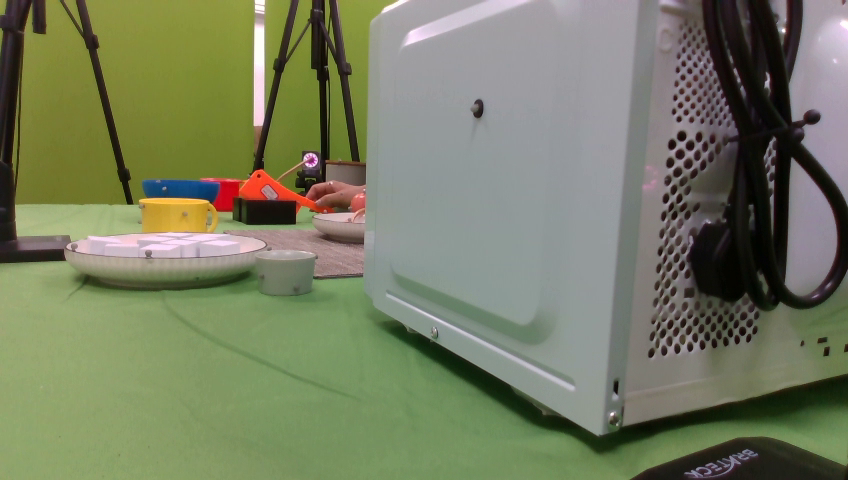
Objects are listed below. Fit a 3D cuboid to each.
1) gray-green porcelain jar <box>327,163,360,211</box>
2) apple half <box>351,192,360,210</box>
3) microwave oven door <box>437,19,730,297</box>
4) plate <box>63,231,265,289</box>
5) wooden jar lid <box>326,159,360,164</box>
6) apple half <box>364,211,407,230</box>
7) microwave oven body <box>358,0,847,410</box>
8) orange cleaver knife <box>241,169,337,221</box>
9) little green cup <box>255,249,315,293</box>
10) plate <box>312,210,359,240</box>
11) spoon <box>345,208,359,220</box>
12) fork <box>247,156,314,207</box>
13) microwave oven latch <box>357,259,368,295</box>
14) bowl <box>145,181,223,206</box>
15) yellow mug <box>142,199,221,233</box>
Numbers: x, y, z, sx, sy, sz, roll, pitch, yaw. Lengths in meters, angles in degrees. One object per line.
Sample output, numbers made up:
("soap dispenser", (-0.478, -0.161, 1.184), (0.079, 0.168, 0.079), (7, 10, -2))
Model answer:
("gray-green porcelain jar", (-0.187, -0.125, 1.490), (0.106, 0.126, 0.106), (2, 7, 0))
("apple half", (-0.105, -0.065, 1.260), (0.081, 0.074, 0.053), (2, 9, -34))
("microwave oven door", (0.181, -0.076, 0.618), (0.358, 0.243, 0.039), (-2, 9, -28))
("plate", (-0.288, 0.021, 0.687), (0.208, 0.039, 0.207), (2, 8, 0))
("wooden jar lid", (-0.185, -0.187, 1.481), (0.108, 0.020, 0.108), (4, 6, 0))
("apple half", (-0.068, -0.037, 1.103), (0.081, 0.033, 0.081), (-1, 8, 1))
("microwave oven body", (0.210, -0.051, 0.471), (0.444, 0.260, 0.324), (-1, 7, -28))
("orange cleaver knife", (-0.287, -0.082, 1.300), (0.212, 0.077, 0.012), (25, -4, -32))
("little green cup", (-0.144, 0.032, 0.627), (0.061, 0.038, 0.061), (2, 5, 0))
("plate", (-0.091, -0.026, 1.063), (0.209, 0.038, 0.209), (2, 7, 0))
("spoon", (-0.123, -0.047, 1.117), (0.041, 0.021, 0.194), (-8, 17, 18))
("fork", (-0.360, -0.147, 1.522), (0.207, 0.018, 0.028), (-43, 7, -7))
("microwave oven latch", (-0.019, 0.031, 0.529), (0.079, 0.029, 0.030), (-1, 7, -26))
("bowl", (-0.499, -0.081, 1.261), (0.151, 0.077, 0.151), (2, 8, 0))
("yellow mug", (-0.373, -0.030, 0.948), (0.099, 0.064, 0.131), (6, 8, 30))
